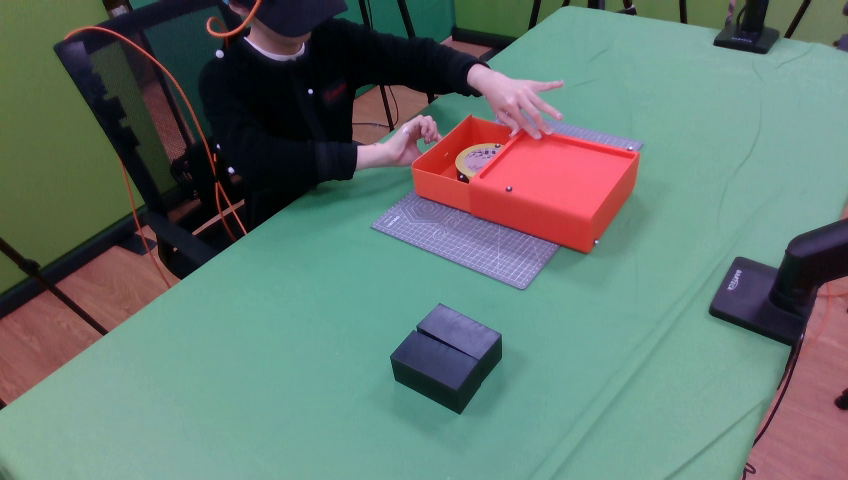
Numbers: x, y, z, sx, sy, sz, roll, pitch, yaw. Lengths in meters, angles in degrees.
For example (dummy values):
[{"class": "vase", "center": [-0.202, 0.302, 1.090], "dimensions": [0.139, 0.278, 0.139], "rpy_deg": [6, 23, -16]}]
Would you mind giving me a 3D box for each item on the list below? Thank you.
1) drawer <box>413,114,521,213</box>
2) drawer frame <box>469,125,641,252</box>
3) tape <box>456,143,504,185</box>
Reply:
[{"class": "drawer", "center": [0.122, -0.127, 1.059], "dimensions": [0.210, 0.073, 0.195], "rpy_deg": [21, 48, 29]}, {"class": "drawer frame", "center": [0.217, -0.093, 1.003], "dimensions": [0.212, 0.083, 0.202], "rpy_deg": [20, 47, 28]}, {"class": "tape", "center": [0.115, -0.119, 1.061], "dimensions": [0.117, 0.053, 0.116], "rpy_deg": [-5, 41, 4]}]
